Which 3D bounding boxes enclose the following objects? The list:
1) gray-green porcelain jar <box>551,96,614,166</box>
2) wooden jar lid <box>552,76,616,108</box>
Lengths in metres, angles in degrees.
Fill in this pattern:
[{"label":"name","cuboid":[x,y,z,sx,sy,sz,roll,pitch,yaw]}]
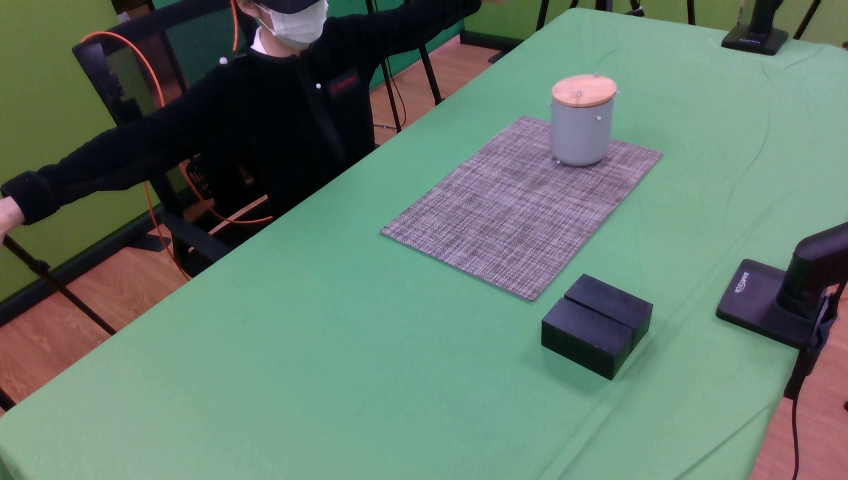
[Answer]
[{"label":"gray-green porcelain jar","cuboid":[0.282,-0.205,1.086,0.106,0.127,0.105,-5,40,4]},{"label":"wooden jar lid","cuboid":[0.276,-0.252,1.046,0.108,0.021,0.108,-6,38,5]}]
